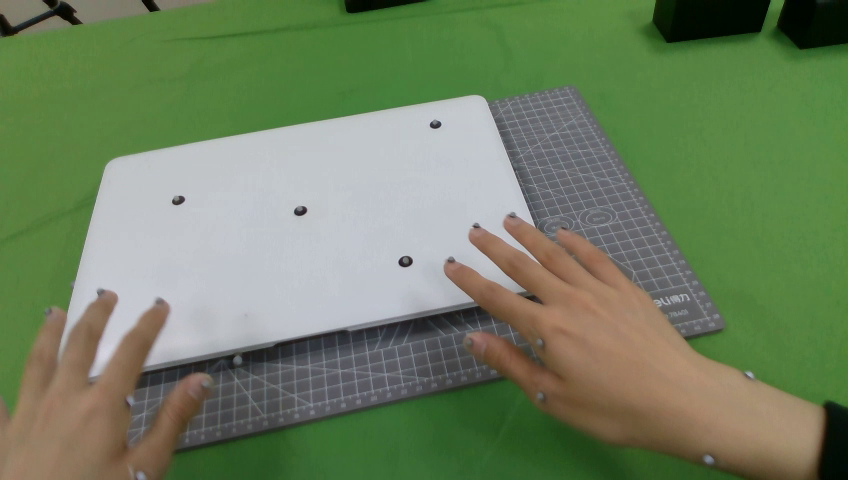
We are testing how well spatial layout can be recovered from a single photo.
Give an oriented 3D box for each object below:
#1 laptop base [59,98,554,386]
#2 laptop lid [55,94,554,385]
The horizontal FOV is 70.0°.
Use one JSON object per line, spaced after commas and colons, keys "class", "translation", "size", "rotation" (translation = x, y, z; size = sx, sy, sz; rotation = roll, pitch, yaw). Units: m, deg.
{"class": "laptop base", "translation": [-0.096, -0.013, 0.498], "size": [0.354, 0.023, 0.233], "rotation": [-11, 51, -3]}
{"class": "laptop lid", "translation": [-0.098, -0.020, 0.488], "size": [0.357, 0.013, 0.239], "rotation": [-9, 50, -2]}
